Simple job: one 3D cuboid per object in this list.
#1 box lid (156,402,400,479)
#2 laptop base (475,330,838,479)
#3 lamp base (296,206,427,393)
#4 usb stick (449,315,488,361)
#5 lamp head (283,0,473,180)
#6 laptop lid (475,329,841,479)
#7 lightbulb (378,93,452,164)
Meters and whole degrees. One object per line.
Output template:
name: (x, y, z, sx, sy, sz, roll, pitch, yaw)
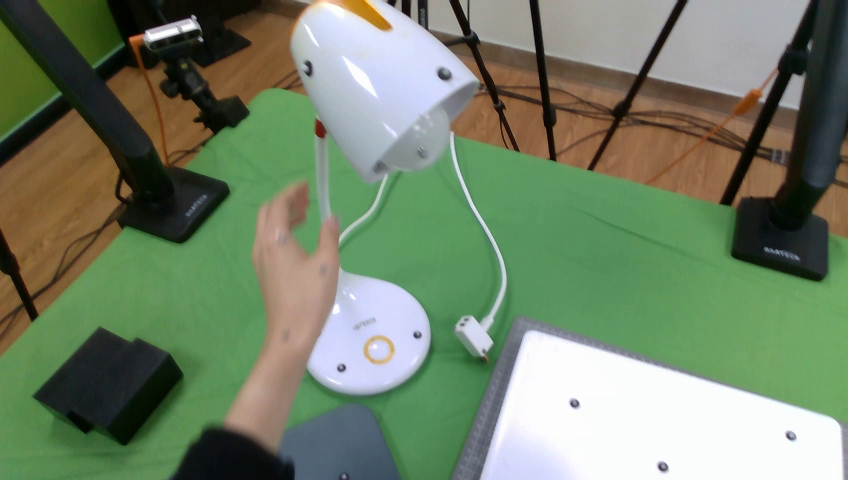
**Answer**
box lid: (-0.113, 0.347, 0.563, 0.264, 0.015, 0.367, -20, 54, -15)
laptop base: (0.245, 0.242, 0.640, 0.353, 0.023, 0.234, 15, 56, 13)
lamp base: (-0.086, 0.057, 0.692, 0.160, 0.182, 0.177, -32, 54, -24)
usb stick: (0.057, 0.119, 0.725, 0.021, 0.059, 0.027, -14, 26, 52)
lamp head: (-0.044, -0.120, 0.444, 0.122, 0.113, 0.112, 46, 61, 5)
laptop lid: (0.243, 0.236, 0.630, 0.355, 0.013, 0.240, 16, 55, 14)
lightbulb: (-0.016, -0.108, 0.434, 0.059, 0.059, 0.107, -17, 91, -12)
